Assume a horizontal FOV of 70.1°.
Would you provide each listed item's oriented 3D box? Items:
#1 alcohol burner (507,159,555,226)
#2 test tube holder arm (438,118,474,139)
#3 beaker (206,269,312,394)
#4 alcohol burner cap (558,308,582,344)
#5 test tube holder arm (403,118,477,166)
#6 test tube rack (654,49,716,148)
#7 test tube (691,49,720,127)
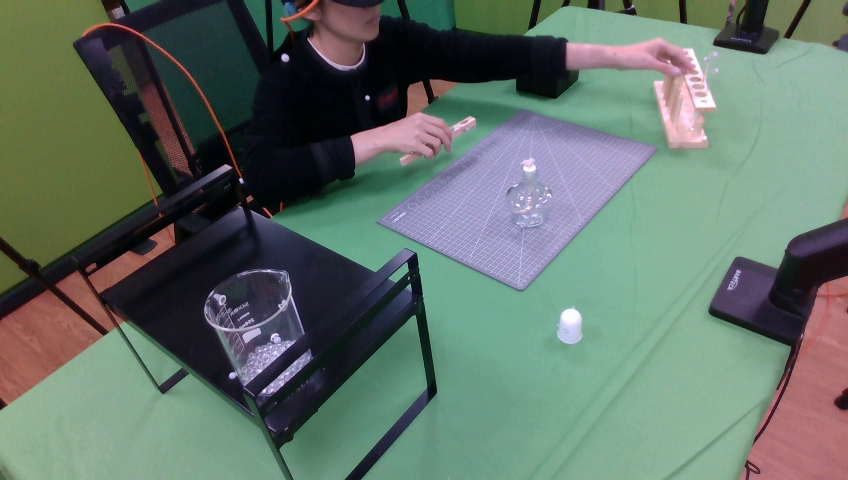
[{"bbox_3d":[0.172,-0.081,0.969,0.078,0.119,0.077,-3,43,4],"label":"alcohol burner"},{"bbox_3d":[0.061,-0.205,1.132,0.088,0.015,0.010,-34,35,-26],"label":"test tube holder arm"},{"bbox_3d":[-0.146,0.086,0.560,0.073,0.101,0.084,19,46,27],"label":"beaker"},{"bbox_3d":[0.194,0.111,0.802,0.034,0.048,0.033,-4,39,4],"label":"alcohol burner cap"},{"bbox_3d":[0.031,-0.181,1.107,0.179,0.015,0.013,-35,36,-28],"label":"test tube holder arm"},{"bbox_3d":[0.502,-0.281,1.176,0.066,0.085,0.241,2,41,11],"label":"test tube rack"},{"bbox_3d":[0.505,-0.270,1.087,0.017,0.151,0.017,-2,41,2],"label":"test tube"}]
